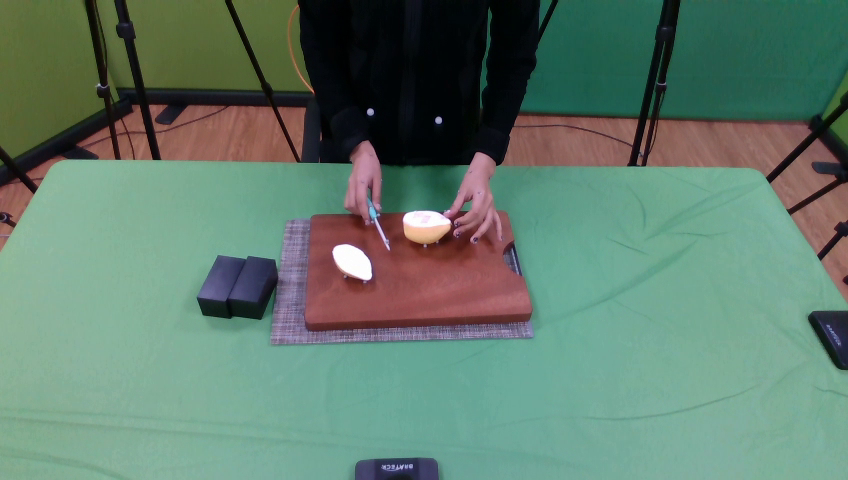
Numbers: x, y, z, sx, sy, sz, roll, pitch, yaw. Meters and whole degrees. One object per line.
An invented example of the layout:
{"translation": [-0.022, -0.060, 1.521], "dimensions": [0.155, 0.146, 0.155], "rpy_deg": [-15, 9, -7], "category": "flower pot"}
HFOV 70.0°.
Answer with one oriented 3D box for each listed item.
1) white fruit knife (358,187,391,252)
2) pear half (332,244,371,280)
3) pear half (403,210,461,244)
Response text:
{"translation": [-0.094, -0.042, 1.150], "dimensions": [0.016, 0.027, 0.206], "rpy_deg": [-19, 42, -10], "category": "white fruit knife"}
{"translation": [-0.132, 0.046, 1.096], "dimensions": [0.070, 0.031, 0.087], "rpy_deg": [-23, 67, -43], "category": "pear half"}
{"translation": [0.017, -0.022, 1.153], "dimensions": [0.110, 0.056, 0.076], "rpy_deg": [2, 34, 13], "category": "pear half"}
